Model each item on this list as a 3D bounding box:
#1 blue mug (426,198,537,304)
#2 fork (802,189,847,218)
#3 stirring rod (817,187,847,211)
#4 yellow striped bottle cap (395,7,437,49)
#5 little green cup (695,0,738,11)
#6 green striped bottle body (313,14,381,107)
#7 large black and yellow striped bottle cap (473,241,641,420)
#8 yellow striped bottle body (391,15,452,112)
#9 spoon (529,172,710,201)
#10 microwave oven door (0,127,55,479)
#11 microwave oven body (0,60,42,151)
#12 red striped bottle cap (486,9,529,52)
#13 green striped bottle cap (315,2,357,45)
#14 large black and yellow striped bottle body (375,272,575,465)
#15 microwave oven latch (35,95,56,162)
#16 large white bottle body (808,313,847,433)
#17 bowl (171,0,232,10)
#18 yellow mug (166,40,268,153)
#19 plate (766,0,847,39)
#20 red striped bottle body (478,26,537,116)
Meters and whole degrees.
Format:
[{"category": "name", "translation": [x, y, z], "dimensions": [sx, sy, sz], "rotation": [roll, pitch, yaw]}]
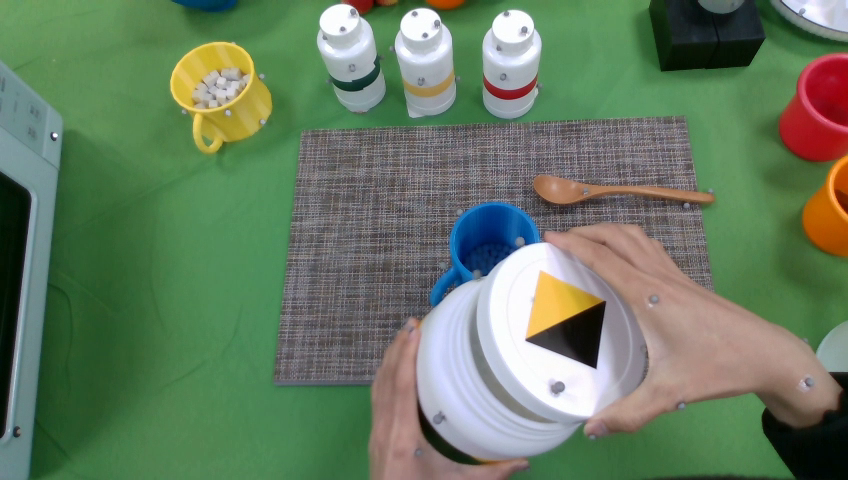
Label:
[{"category": "blue mug", "translation": [0.052, 0.027, 0.591], "dimensions": [0.116, 0.106, 0.081], "rotation": [-33, 68, -8]}, {"category": "fork", "translation": [0.446, -0.017, 0.552], "dimensions": [0.028, 0.019, 0.205], "rotation": [-28, 24, -14]}, {"category": "stirring rod", "translation": [0.418, -0.018, 0.564], "dimensions": [0.014, 0.006, 0.175], "rotation": [2, 25, 3]}, {"category": "yellow striped bottle cap", "translation": [-0.008, -0.223, 0.637], "dimensions": [0.044, 0.019, 0.044], "rotation": [0, 65, 1]}, {"category": "little green cup", "translation": [0.332, -0.290, 0.678], "dimensions": [0.061, 0.039, 0.061], "rotation": [-1, 66, 3]}, {"category": "green striped bottle body", "translation": [-0.088, -0.212, 0.696], "dimensions": [0.063, 0.120, 0.062], "rotation": [-2, 68, 4]}, {"category": "large black and yellow striped bottle cap", "translation": [0.086, 0.055, 0.385], "dimensions": [0.115, 0.019, 0.114], "rotation": [11, 60, -19]}, {"category": "yellow striped bottle body", "translation": [-0.002, -0.204, 0.685], "dimensions": [0.063, 0.121, 0.062], "rotation": [-2, 67, 5]}, {"category": "spoon", "translation": [0.211, -0.055, 0.654], "dimensions": [0.193, 0.022, 0.041], "rotation": [2, 47, 6]}, {"category": "microwave oven door", "translation": [-0.439, 0.031, 0.546], "dimensions": [0.039, 0.245, 0.353], "rotation": [-10, 67, 2]}, {"category": "microwave oven body", "translation": [-0.588, 0.020, 0.569], "dimensions": [0.326, 0.262, 0.438], "rotation": [-10, 68, 1]}, {"category": "red striped bottle cap", "translation": [0.086, -0.217, 0.625], "dimensions": [0.044, 0.018, 0.044], "rotation": [0, 66, 1]}, {"category": "green striped bottle cap", "translation": [-0.095, -0.232, 0.648], "dimensions": [0.044, 0.020, 0.044], "rotation": [-1, 68, 2]}, {"category": "large black and yellow striped bottle body", "translation": [0.045, 0.102, 0.472], "dimensions": [0.131, 0.184, 0.129], "rotation": [8, 64, -17]}, {"category": "microwave oven latch", "translation": [-0.460, -0.130, 0.722], "dimensions": [0.030, 0.030, 0.078], "rotation": [-8, 68, 1]}, {"category": "large white bottle body", "translation": [0.420, 0.098, 0.489], "dimensions": [0.130, 0.186, 0.129], "rotation": [-2, 67, 5]}, {"category": "bowl", "translation": [-0.293, -0.360, 0.797], "dimensions": [0.151, 0.077, 0.150], "rotation": [-2, 68, 4]}, {"category": "yellow mug", "translation": [-0.249, -0.165, 0.721], "dimensions": [0.100, 0.064, 0.130], "rotation": [8, 70, 8]}, {"category": "plate", "translation": [0.502, -0.322, 0.730], "dimensions": [0.209, 0.038, 0.207], "rotation": [-2, 69, 5]}, {"category": "red striped bottle body", "translation": [0.091, -0.197, 0.674], "dimensions": [0.063, 0.120, 0.062], "rotation": [-2, 67, 5]}]
